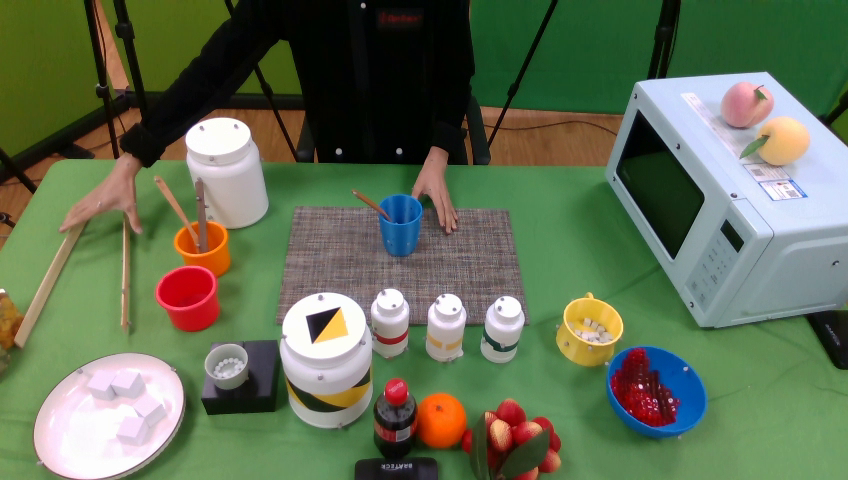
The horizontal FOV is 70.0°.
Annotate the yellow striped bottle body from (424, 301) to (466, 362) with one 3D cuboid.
[{"bbox_3d":[0.035,0.143,0.995,0.063,0.121,0.062,3,46,-3],"label":"yellow striped bottle body"}]

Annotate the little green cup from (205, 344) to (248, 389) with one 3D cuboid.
[{"bbox_3d":[-0.294,0.191,0.909,0.061,0.039,0.061,1,47,-1],"label":"little green cup"}]

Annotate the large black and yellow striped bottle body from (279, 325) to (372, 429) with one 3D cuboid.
[{"bbox_3d":[-0.143,0.181,0.900,0.131,0.185,0.130,2,46,-2],"label":"large black and yellow striped bottle body"}]

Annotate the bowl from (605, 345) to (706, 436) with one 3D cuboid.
[{"bbox_3d":[0.351,0.247,0.950,0.151,0.077,0.150,2,46,-2],"label":"bowl"}]

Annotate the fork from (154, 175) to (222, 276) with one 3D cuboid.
[{"bbox_3d":[-0.431,-0.027,1.101,0.028,0.018,0.207,-33,100,-26],"label":"fork"}]

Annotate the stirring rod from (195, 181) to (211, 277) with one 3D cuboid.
[{"bbox_3d":[-0.403,-0.020,1.104,0.014,0.006,0.176,-6,89,-8],"label":"stirring rod"}]

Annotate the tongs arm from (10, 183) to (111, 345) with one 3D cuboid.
[{"bbox_3d":[-0.658,0.027,1.109,0.028,0.028,0.385,-2,45,2],"label":"tongs arm"}]

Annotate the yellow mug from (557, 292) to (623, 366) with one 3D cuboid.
[{"bbox_3d":[0.285,0.145,1.051,0.100,0.064,0.130,7,45,4],"label":"yellow mug"}]

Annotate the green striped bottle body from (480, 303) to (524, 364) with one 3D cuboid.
[{"bbox_3d":[0.129,0.147,1.000,0.063,0.120,0.063,2,46,-2],"label":"green striped bottle body"}]

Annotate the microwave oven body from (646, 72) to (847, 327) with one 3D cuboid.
[{"bbox_3d":[0.607,-0.089,1.164,0.326,0.261,0.438,-7,46,-10],"label":"microwave oven body"}]

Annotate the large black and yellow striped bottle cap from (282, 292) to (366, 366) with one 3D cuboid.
[{"bbox_3d":[-0.138,0.121,0.841,0.115,0.019,0.114,3,47,-3],"label":"large black and yellow striped bottle cap"}]

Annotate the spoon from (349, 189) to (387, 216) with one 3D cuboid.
[{"bbox_3d":[-0.077,-0.045,1.120,0.021,0.195,0.041,-36,47,7],"label":"spoon"}]

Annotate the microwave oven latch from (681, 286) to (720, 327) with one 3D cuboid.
[{"bbox_3d":[0.494,0.119,1.086,0.030,0.029,0.078,-5,46,-9],"label":"microwave oven latch"}]

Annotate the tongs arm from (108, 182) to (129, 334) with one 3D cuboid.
[{"bbox_3d":[-0.572,0.019,1.123,0.051,0.026,0.382,-11,47,-12],"label":"tongs arm"}]

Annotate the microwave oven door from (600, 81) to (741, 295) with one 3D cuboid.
[{"bbox_3d":[0.454,-0.107,1.161,0.039,0.245,0.353,-6,47,-11],"label":"microwave oven door"}]

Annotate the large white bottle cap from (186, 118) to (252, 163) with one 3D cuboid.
[{"bbox_3d":[-0.377,-0.185,1.115,0.115,0.018,0.114,2,47,-2],"label":"large white bottle cap"}]

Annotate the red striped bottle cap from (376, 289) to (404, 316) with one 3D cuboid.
[{"bbox_3d":[-0.055,0.098,0.958,0.044,0.018,0.044,0,48,0],"label":"red striped bottle cap"}]

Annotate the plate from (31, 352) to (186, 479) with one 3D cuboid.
[{"bbox_3d":[-0.459,0.262,0.898,0.209,0.038,0.208,2,46,-2],"label":"plate"}]

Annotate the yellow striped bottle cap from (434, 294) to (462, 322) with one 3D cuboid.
[{"bbox_3d":[0.038,0.107,0.958,0.044,0.019,0.044,2,45,-2],"label":"yellow striped bottle cap"}]

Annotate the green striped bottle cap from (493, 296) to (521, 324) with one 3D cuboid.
[{"bbox_3d":[0.133,0.111,0.962,0.044,0.020,0.044,2,47,-2],"label":"green striped bottle cap"}]

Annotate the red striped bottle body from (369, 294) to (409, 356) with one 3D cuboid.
[{"bbox_3d":[-0.059,0.134,0.997,0.063,0.120,0.062,5,48,-5],"label":"red striped bottle body"}]

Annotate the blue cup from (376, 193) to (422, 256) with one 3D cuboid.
[{"bbox_3d":[-0.049,-0.023,1.157,0.093,0.101,0.092,2,47,-2],"label":"blue cup"}]

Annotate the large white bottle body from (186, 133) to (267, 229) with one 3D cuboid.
[{"bbox_3d":[-0.382,-0.127,1.176,0.131,0.185,0.130,2,46,-2],"label":"large white bottle body"}]
